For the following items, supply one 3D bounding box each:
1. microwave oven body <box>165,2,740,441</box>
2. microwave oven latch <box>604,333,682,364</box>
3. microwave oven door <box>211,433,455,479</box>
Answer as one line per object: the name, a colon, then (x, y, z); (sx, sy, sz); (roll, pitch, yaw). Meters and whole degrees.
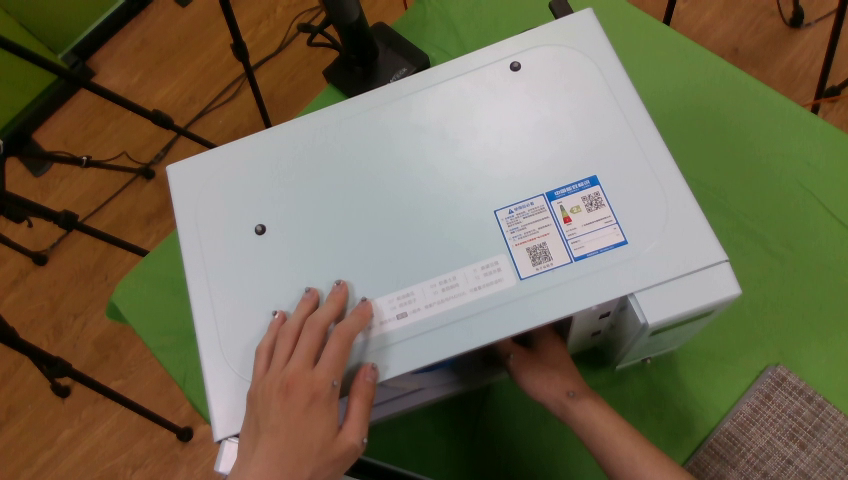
microwave oven body: (0.015, 0.010, 0.642); (0.442, 0.262, 0.323); (-20, 69, 3)
microwave oven latch: (0.243, 0.112, 0.672); (0.079, 0.030, 0.030); (-18, 69, 3)
microwave oven door: (0.018, 0.244, 0.552); (0.354, 0.245, 0.039); (13, 74, 14)
